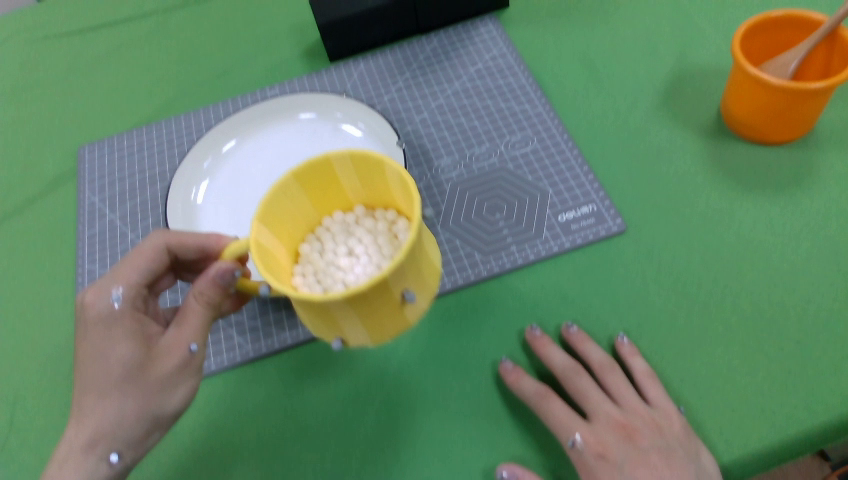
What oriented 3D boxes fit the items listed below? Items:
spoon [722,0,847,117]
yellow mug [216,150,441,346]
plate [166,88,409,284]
[{"bbox_3d":[0.310,-0.175,0.466,0.194,0.022,0.041,-49,51,26],"label":"spoon"},{"bbox_3d":[-0.059,0.009,0.360,0.131,0.064,0.099,-13,56,4],"label":"yellow mug"},{"bbox_3d":[-0.113,-0.044,0.521,0.207,0.039,0.205,-4,58,7],"label":"plate"}]
